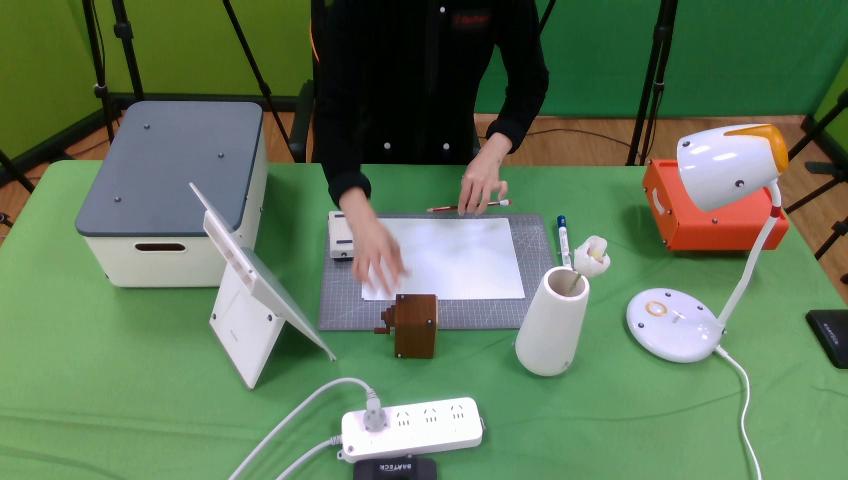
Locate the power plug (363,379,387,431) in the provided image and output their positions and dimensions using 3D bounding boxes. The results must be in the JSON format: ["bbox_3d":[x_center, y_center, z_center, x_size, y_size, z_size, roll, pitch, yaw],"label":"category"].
[{"bbox_3d":[-0.072,0.252,0.910,0.035,0.053,0.072,3,45,-1],"label":"power plug"}]

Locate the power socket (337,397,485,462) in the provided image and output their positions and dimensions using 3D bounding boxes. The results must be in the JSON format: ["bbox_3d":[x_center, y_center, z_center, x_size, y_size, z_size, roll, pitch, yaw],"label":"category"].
[{"bbox_3d":[-0.018,0.285,0.915,0.227,0.033,0.071,-5,46,-8],"label":"power socket"}]

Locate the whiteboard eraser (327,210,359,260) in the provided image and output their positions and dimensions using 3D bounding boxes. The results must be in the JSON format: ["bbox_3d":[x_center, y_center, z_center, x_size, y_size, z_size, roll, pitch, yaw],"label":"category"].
[{"bbox_3d":[-0.159,-0.009,1.177,0.055,0.042,0.112,-6,47,-7],"label":"whiteboard eraser"}]

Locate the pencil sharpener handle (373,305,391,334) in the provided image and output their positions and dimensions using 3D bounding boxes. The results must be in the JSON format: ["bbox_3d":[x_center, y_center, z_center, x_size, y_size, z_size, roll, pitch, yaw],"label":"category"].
[{"bbox_3d":[-0.068,0.132,0.989,0.030,0.068,0.036,1,48,-2],"label":"pencil sharpener handle"}]

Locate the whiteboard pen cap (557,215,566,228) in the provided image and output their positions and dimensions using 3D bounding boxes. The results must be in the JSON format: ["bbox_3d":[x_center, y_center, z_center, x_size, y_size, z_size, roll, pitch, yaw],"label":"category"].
[{"bbox_3d":[0.284,-0.035,1.246,0.018,0.018,0.033,4,52,-1],"label":"whiteboard pen cap"}]

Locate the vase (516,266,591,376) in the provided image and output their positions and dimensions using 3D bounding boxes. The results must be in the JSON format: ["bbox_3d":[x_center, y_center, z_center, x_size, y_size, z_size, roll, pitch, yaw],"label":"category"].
[{"bbox_3d":[0.208,0.132,0.964,0.098,0.201,0.097,3,46,-3],"label":"vase"}]

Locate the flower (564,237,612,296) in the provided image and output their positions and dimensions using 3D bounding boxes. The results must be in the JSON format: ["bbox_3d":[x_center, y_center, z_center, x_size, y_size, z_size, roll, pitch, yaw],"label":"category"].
[{"bbox_3d":[0.206,0.088,0.893,0.038,0.363,0.044,-17,67,-9],"label":"flower"}]

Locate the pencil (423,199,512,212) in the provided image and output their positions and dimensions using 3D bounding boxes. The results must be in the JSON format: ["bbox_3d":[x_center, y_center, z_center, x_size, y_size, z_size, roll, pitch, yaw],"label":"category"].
[{"bbox_3d":[0.088,-0.067,1.191,0.194,0.012,0.012,-7,47,-22],"label":"pencil"}]

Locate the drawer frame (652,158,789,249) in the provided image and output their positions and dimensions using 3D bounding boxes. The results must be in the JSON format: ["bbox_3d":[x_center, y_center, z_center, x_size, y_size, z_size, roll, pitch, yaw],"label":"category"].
[{"bbox_3d":[0.571,-0.075,1.214,0.214,0.083,0.200,0,45,-1],"label":"drawer frame"}]

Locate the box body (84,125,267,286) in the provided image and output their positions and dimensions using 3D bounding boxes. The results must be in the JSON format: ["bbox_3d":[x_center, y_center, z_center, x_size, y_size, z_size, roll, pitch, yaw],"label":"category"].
[{"bbox_3d":[-0.446,-0.088,1.150,0.254,0.161,0.361,-1,46,-5],"label":"box body"}]

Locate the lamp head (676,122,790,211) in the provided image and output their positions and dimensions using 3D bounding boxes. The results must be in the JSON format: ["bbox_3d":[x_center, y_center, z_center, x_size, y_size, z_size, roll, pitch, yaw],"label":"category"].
[{"bbox_3d":[0.423,-0.104,0.819,0.122,0.113,0.112,-13,33,40],"label":"lamp head"}]

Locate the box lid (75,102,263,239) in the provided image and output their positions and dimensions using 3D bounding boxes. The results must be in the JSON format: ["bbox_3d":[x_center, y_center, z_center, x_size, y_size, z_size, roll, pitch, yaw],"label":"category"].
[{"bbox_3d":[-0.443,-0.138,1.094,0.263,0.015,0.369,-1,47,-5],"label":"box lid"}]

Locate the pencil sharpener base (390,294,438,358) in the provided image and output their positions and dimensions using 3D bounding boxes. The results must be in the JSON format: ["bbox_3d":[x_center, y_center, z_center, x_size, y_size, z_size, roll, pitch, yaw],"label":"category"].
[{"bbox_3d":[-0.018,0.143,1.000,0.077,0.107,0.061,1,47,-2],"label":"pencil sharpener base"}]

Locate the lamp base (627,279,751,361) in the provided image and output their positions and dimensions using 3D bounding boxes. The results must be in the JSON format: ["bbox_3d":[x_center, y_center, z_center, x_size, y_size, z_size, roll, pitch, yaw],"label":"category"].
[{"bbox_3d":[0.459,0.100,1.027,0.178,0.181,0.160,27,51,17],"label":"lamp base"}]

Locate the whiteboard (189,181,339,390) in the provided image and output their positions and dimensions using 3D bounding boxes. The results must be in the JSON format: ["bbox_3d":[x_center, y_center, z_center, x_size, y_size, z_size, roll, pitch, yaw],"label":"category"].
[{"bbox_3d":[-0.292,0.096,0.929,0.144,0.307,0.216,-37,57,-10],"label":"whiteboard"}]

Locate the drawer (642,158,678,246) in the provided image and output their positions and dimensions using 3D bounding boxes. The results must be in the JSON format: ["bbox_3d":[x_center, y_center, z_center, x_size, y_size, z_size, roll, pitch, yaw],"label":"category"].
[{"bbox_3d":[0.566,-0.076,1.211,0.212,0.073,0.193,2,45,-2],"label":"drawer"}]

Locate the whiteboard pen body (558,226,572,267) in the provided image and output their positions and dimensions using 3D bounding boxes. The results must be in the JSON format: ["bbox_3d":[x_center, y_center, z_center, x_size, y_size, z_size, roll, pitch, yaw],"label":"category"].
[{"bbox_3d":[0.280,0.010,1.208,0.017,0.017,0.140,3,50,-1],"label":"whiteboard pen body"}]
